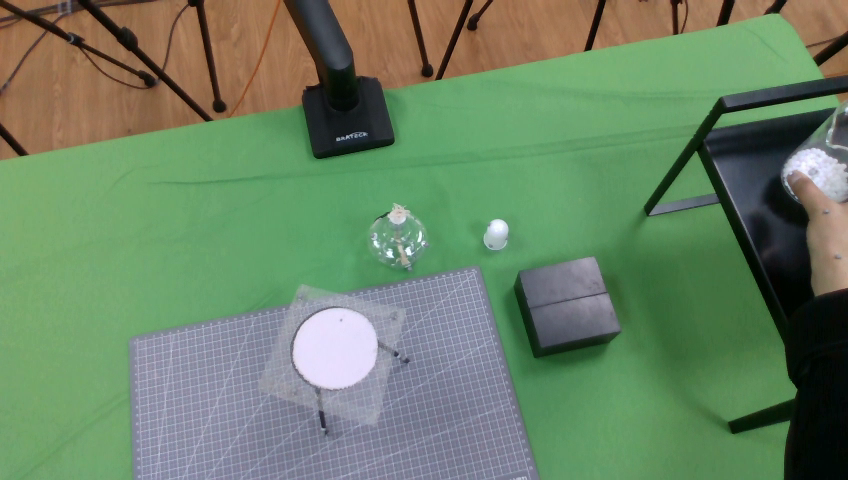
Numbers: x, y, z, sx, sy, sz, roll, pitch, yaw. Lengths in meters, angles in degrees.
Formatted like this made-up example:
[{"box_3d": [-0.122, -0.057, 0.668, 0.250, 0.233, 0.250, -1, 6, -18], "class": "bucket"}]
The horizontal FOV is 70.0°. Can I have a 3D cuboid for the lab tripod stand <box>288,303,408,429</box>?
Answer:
[{"box_3d": [-0.091, 0.131, 0.682, 0.148, 0.132, 0.147, 1, 64, -1], "class": "lab tripod stand"}]

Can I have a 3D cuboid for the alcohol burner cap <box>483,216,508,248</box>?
[{"box_3d": [0.097, -0.012, 0.803, 0.034, 0.048, 0.033, 0, 65, 0], "class": "alcohol burner cap"}]

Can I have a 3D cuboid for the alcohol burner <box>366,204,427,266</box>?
[{"box_3d": [-0.034, -0.014, 0.762, 0.078, 0.120, 0.077, 1, 65, -2], "class": "alcohol burner"}]

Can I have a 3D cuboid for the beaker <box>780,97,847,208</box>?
[{"box_3d": [0.406, -0.082, 0.594, 0.084, 0.101, 0.073, -15, 67, -7], "class": "beaker"}]

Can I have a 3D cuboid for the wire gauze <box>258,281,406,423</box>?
[{"box_3d": [-0.091, 0.109, 0.618, 0.125, 0.011, 0.121, 15, 66, 5], "class": "wire gauze"}]
